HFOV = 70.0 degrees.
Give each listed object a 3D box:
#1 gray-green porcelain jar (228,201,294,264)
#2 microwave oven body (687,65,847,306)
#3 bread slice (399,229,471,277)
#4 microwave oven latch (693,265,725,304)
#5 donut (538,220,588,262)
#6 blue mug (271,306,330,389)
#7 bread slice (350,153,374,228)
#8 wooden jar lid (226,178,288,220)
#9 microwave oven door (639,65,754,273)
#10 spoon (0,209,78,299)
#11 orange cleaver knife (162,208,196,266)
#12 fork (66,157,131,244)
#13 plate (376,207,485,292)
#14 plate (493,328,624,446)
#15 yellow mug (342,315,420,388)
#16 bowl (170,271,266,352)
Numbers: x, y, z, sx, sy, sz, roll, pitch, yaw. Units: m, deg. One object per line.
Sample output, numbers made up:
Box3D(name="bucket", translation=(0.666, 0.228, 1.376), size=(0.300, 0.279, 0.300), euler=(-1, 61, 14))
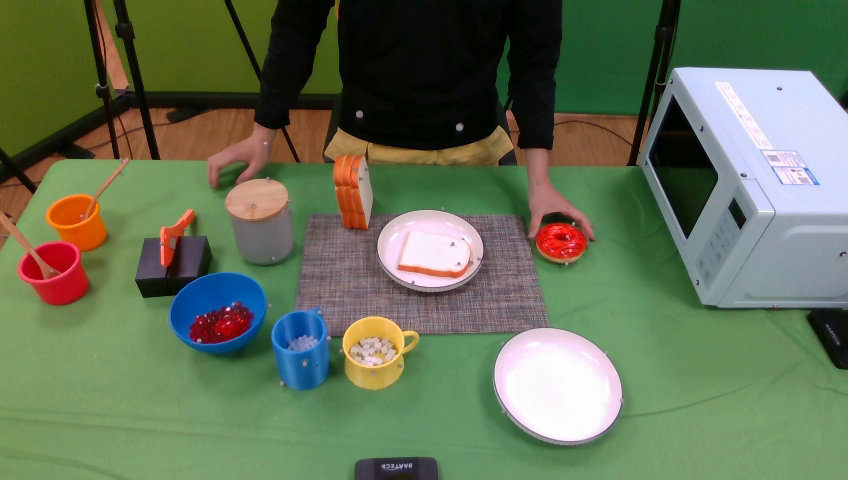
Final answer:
Box3D(name="gray-green porcelain jar", translation=(-0.300, -0.027, 1.126), size=(0.106, 0.127, 0.105), euler=(2, 46, -2))
Box3D(name="microwave oven body", translation=(0.669, -0.111, 1.176), size=(0.326, 0.261, 0.439), euler=(0, 46, -3))
Box3D(name="bread slice", translation=(0.025, 0.025, 1.161), size=(0.131, 0.019, 0.104), euler=(7, 47, 8))
Box3D(name="microwave oven latch", translation=(0.522, 0.081, 1.115), size=(0.030, 0.029, 0.078), euler=(2, 46, -1))
Box3D(name="donut", translation=(0.274, 0.001, 1.198), size=(0.099, 0.048, 0.098), euler=(-1, 46, 2))
Box3D(name="blue mug", translation=(-0.188, 0.163, 0.969), size=(0.082, 0.106, 0.116), euler=(15, 47, 10))
Box3D(name="bread slice", translation=(-0.124, -0.104, 1.207), size=(0.018, 0.135, 0.106), euler=(-1, 48, 7))
Box3D(name="wooden jar lid", translation=(-0.296, -0.070, 1.081), size=(0.108, 0.021, 0.107), euler=(1, 45, -1))
Box3D(name="microwave oven door", translation=(0.522, -0.147, 1.193), size=(0.039, 0.245, 0.353), euler=(0, 47, -3))
Box3D(name="spoon", translation=(-0.668, 0.021, 1.040), size=(0.041, 0.021, 0.194), euler=(-41, 105, -30))
Box3D(name="orange cleaver knife", translation=(-0.454, -0.010, 1.129), size=(0.012, 0.077, 0.210), euler=(-1, 17, -6))
Box3D(name="fork", translation=(-0.608, -0.074, 1.132), size=(0.207, 0.019, 0.028), euler=(-52, 48, 10))
Box3D(name="plate", translation=(0.012, 0.021, 1.159), size=(0.209, 0.038, 0.208), euler=(2, 47, -2))
Box3D(name="plate", translation=(0.213, 0.236, 0.974), size=(0.208, 0.039, 0.206), euler=(2, 46, -2))
Box3D(name="yellow mug", translation=(-0.068, 0.177, 0.991), size=(0.131, 0.064, 0.099), euler=(-15, 50, -19))
Box3D(name="bowl", translation=(-0.333, 0.132, 1.006), size=(0.151, 0.077, 0.150), euler=(2, 46, -2))
